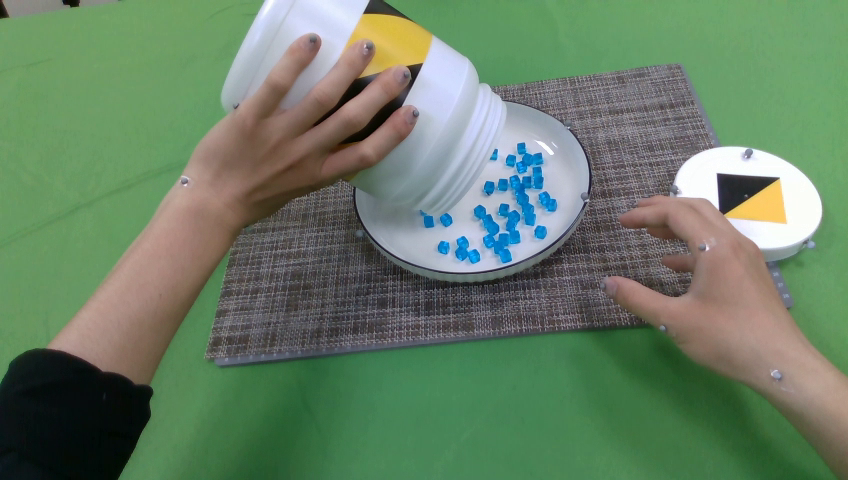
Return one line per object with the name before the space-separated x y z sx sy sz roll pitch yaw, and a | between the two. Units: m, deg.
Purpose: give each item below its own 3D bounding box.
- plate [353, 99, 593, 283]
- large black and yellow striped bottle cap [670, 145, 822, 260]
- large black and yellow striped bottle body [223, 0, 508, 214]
plate | 0.043 -0.044 0.537 0.207 0.039 0.205 -5 52 6
large black and yellow striped bottle cap | 0.266 -0.034 0.503 0.115 0.019 0.114 -2 53 3
large black and yellow striped bottle body | -0.040 -0.110 0.463 0.185 0.131 0.130 30 54 -17
